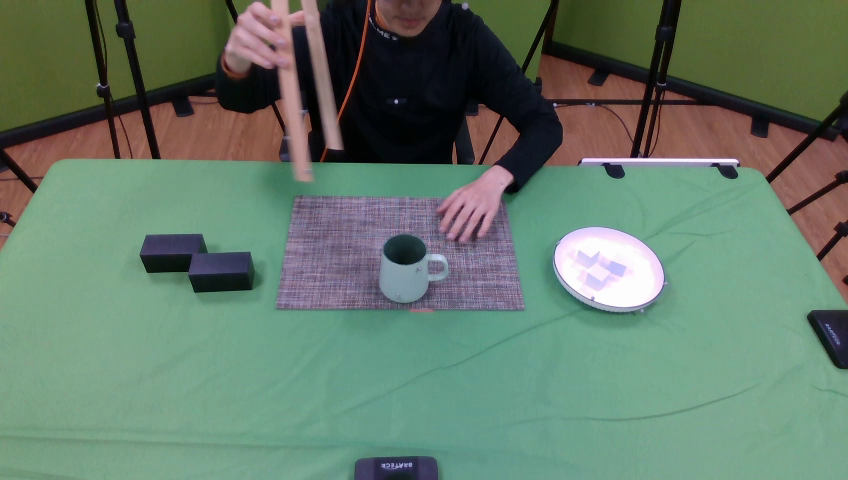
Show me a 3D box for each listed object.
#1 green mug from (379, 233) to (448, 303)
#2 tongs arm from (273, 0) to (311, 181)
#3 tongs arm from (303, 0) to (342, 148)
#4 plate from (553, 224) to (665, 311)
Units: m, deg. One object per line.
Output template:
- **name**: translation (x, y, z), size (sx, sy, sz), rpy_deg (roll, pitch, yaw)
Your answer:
- **green mug**: translation (-0.019, 0.050, 1.085), size (0.125, 0.105, 0.092), rpy_deg (0, 46, -4)
- **tongs arm**: translation (-0.191, -0.272, 0.896), size (0.026, 0.386, 0.050), rpy_deg (9, 34, 17)
- **tongs arm**: translation (-0.171, -0.309, 0.949), size (0.027, 0.389, 0.028), rpy_deg (12, 44, 19)
- **plate**: translation (0.349, 0.055, 1.159), size (0.209, 0.038, 0.208), rpy_deg (2, 47, -2)
